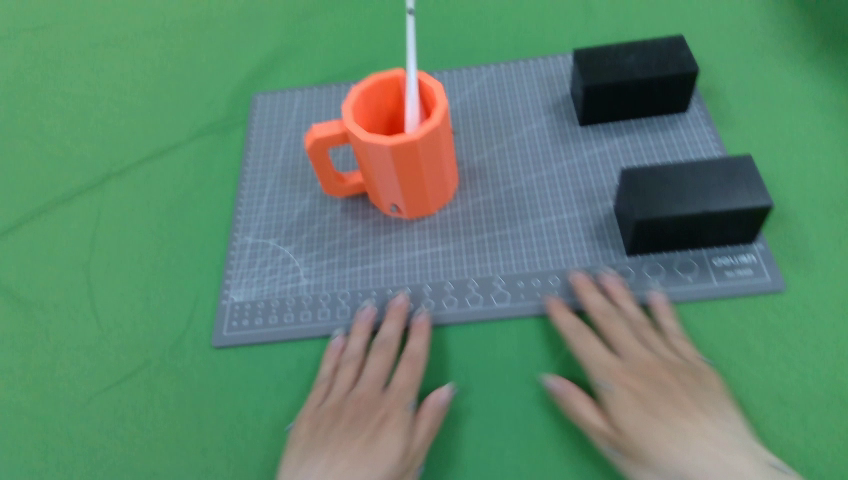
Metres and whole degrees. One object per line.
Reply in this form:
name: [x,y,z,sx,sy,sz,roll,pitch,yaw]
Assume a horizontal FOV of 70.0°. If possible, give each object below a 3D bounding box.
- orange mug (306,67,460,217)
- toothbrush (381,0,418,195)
orange mug: [-0.033,-0.079,0.520,0.126,0.102,0.082,-10,55,-4]
toothbrush: [-0.016,-0.125,0.488,0.016,0.182,0.014,20,18,36]
